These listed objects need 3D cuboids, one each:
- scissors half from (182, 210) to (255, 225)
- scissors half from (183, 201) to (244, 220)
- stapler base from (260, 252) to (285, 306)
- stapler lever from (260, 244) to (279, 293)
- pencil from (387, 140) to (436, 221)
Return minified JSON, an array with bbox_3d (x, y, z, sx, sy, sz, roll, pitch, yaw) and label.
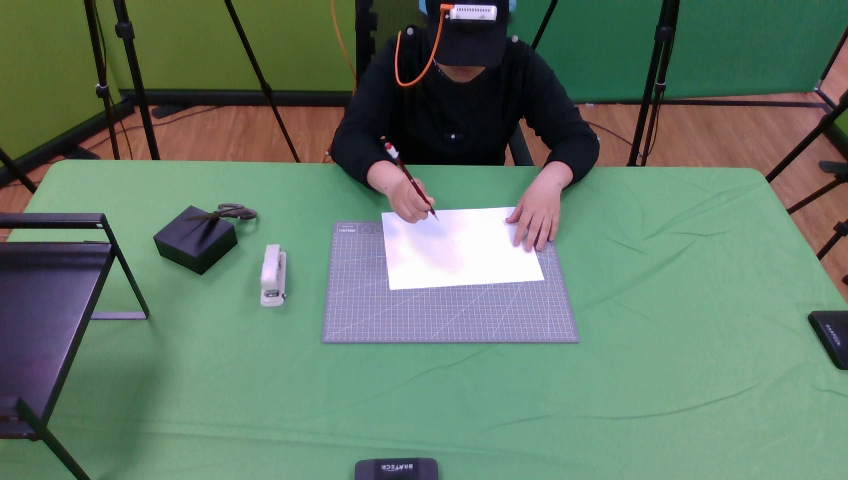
[{"bbox_3d":[-0.389,-0.042,1.158,0.040,0.013,0.175,41,21,22],"label":"scissors half"},{"bbox_3d":[-0.405,-0.054,1.163,0.040,0.013,0.175,29,18,7],"label":"scissors half"},{"bbox_3d":[-0.279,0.064,1.113,0.041,0.024,0.129,-1,44,-9],"label":"stapler base"},{"bbox_3d":[-0.278,0.045,1.096,0.027,0.040,0.117,-2,44,-9],"label":"stapler lever"},{"bbox_3d":[-0.019,-0.103,1.093,0.012,0.195,0.012,-20,38,16],"label":"pencil"}]
